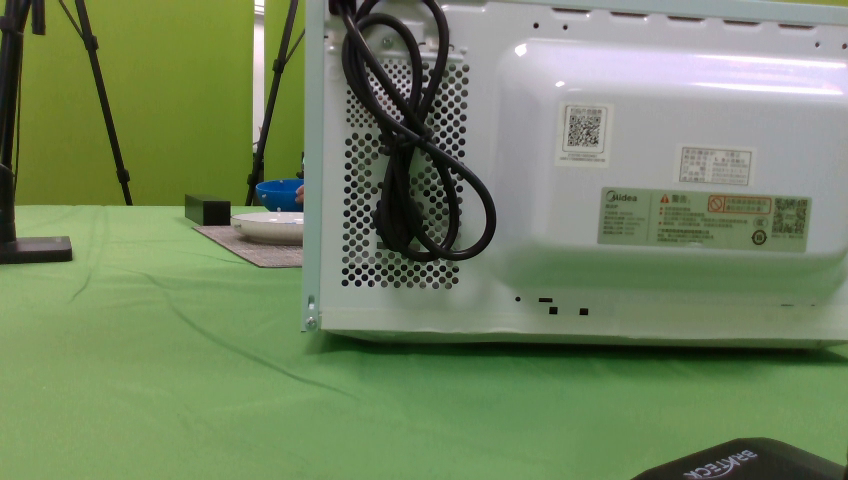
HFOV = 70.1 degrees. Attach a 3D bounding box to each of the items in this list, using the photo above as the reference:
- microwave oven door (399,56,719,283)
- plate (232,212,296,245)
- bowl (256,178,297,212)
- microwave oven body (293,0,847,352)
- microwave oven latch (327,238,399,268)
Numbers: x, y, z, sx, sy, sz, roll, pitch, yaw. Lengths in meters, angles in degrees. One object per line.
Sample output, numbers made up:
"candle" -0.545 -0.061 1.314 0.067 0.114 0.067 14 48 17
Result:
"microwave oven door" 0.155 -0.078 0.698 0.356 0.243 0.039 2 8 -5
"plate" -0.214 -0.019 1.018 0.208 0.039 0.207 2 7 0
"bowl" -0.287 -0.082 1.317 0.151 0.077 0.151 0 17 0
"microwave oven body" 0.122 -0.055 0.550 0.442 0.260 0.325 3 7 -5
"microwave oven latch" -0.069 0.015 0.694 0.079 0.029 0.030 3 7 -3
